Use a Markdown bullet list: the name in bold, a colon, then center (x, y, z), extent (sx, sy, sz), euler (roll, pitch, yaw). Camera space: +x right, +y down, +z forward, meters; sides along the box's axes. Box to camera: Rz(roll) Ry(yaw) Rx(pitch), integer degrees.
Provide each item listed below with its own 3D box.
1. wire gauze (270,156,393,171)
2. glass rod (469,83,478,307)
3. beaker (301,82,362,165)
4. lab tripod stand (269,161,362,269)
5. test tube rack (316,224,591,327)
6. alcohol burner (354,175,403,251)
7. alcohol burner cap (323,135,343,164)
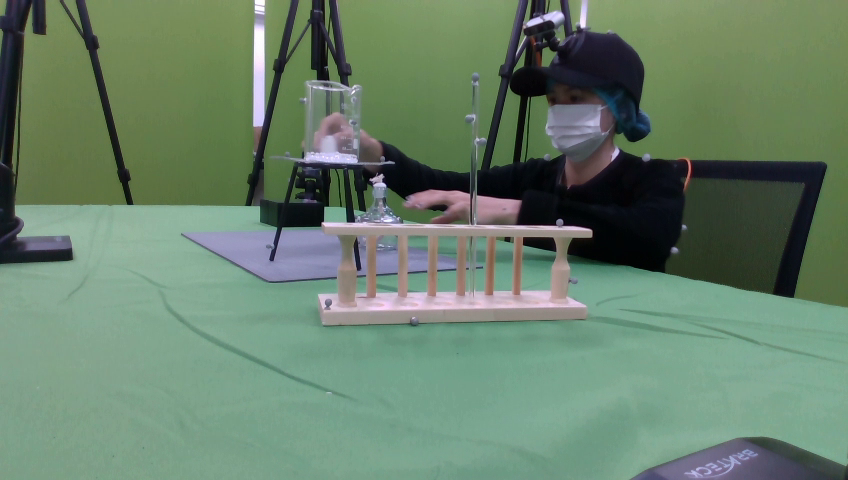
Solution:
- **wire gauze**: center (-0.122, -0.100, 0.786), extent (0.122, 0.011, 0.124), euler (-5, 14, -38)
- **glass rod**: center (0.043, -0.033, 0.523), extent (0.008, 0.199, 0.008), euler (-1, 14, 1)
- **beaker**: center (-0.117, -0.147, 0.776), extent (0.074, 0.100, 0.083), euler (-3, 10, -38)
- **lab tripod stand**: center (-0.125, -0.036, 0.794), extent (0.148, 0.131, 0.148), euler (5, 7, 0)
- **test tube rack**: center (0.026, 0.028, 0.555), extent (0.243, 0.085, 0.066), euler (1, 7, -14)
- **alcohol burner**: center (-0.072, -0.042, 0.944), extent (0.078, 0.119, 0.078), euler (1, 9, 0)
- **alcohol burner cap**: center (-0.143, -0.141, 0.950), extent (0.034, 0.048, 0.034), euler (-2, -6, 0)
